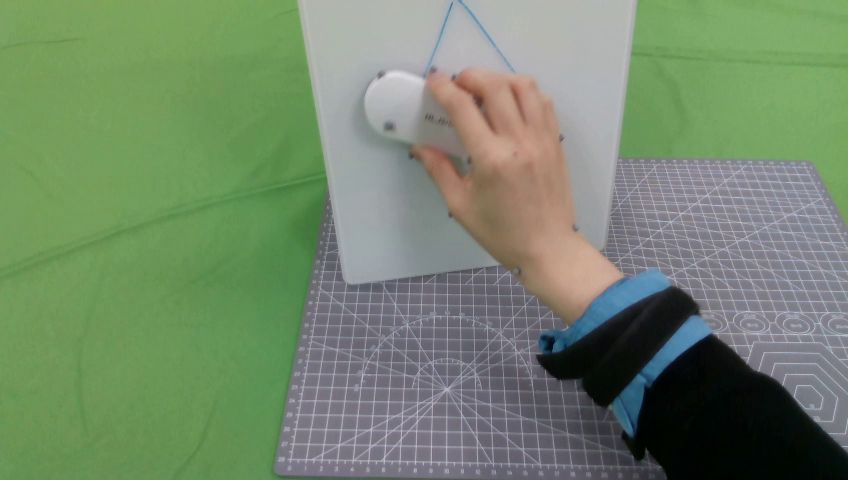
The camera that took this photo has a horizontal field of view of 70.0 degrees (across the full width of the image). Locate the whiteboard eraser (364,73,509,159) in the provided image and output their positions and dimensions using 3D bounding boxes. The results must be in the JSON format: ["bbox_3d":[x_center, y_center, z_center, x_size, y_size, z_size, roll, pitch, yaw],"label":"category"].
[{"bbox_3d":[0.009,-0.082,0.406,0.102,0.041,0.018,12,28,-19],"label":"whiteboard eraser"}]

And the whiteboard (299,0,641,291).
[{"bbox_3d":[0.027,-0.139,0.461,0.217,0.308,0.142,-7,32,-5],"label":"whiteboard"}]
